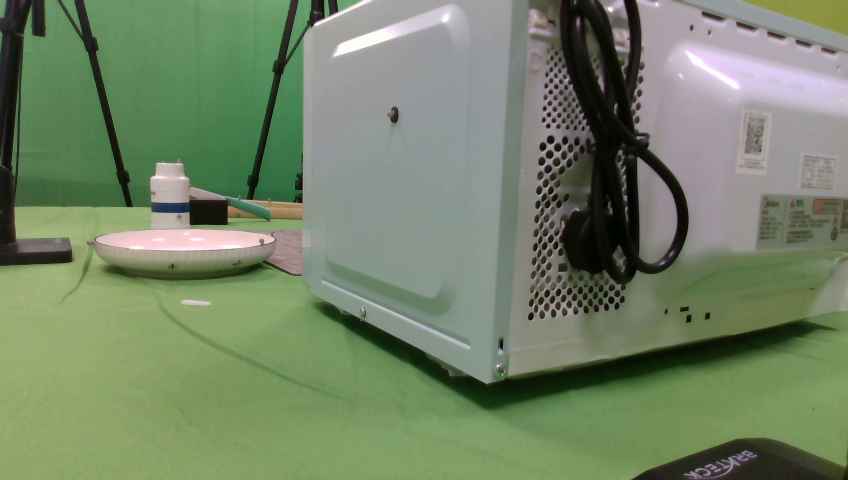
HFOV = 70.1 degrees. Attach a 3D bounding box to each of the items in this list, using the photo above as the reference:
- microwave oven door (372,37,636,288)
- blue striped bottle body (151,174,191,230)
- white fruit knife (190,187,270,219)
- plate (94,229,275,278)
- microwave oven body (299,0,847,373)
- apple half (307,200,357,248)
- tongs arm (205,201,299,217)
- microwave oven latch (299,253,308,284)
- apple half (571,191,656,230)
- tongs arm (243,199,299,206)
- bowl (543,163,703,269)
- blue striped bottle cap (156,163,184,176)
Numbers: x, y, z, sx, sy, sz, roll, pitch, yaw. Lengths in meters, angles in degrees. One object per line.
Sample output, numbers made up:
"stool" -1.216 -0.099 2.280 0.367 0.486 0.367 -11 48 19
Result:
"microwave oven door" 0.110 -0.080 0.686 0.358 0.243 0.039 -2 9 -33
"blue striped bottle body" -0.439 -0.071 1.052 0.063 0.120 0.063 2 8 0
"white fruit knife" -0.413 -0.081 1.270 0.208 0.027 0.016 17 13 -41
"plate" -0.291 0.016 0.749 0.208 0.039 0.207 2 7 0
"microwave oven body" 0.152 -0.055 0.542 0.444 0.260 0.324 -2 7 -33
"apple half" -0.135 -0.024 0.942 0.053 0.074 0.081 13 8 38
"tongs arm" -0.302 -0.067 1.406 0.389 0.027 0.028 3 2 -15
"microwave oven latch" -0.082 0.027 0.585 0.079 0.029 0.030 -2 8 -37
"apple half" 0.181 -0.030 0.584 0.081 0.033 0.081 8 -6 1
"tongs arm" -0.310 -0.077 1.486 0.385 0.026 0.051 4 5 -2
"bowl" 0.181 -0.020 0.585 0.151 0.077 0.151 13 7 -1
"blue striped bottle cap" -0.438 -0.122 1.045 0.044 0.020 0.044 5 6 0
